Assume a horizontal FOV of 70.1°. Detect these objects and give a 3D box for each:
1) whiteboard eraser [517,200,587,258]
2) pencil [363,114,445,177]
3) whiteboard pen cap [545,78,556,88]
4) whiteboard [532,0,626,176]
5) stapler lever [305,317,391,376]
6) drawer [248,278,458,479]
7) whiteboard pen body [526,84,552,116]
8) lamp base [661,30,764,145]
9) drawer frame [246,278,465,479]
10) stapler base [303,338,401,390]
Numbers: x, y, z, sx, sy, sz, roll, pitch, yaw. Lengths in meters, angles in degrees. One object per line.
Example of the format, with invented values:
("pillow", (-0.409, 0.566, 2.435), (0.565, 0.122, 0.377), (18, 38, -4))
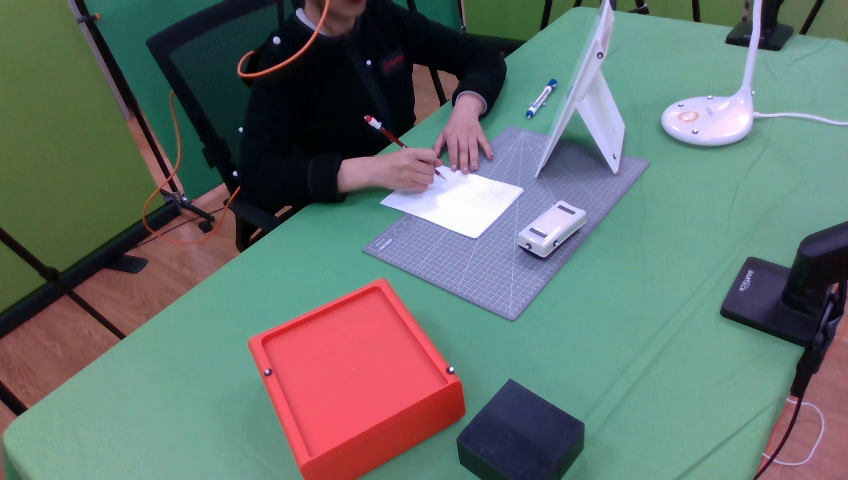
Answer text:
("whiteboard eraser", (0.200, -0.016, 0.943), (0.113, 0.042, 0.055), (-37, 46, -29))
("pencil", (-0.031, -0.163, 1.068), (0.012, 0.196, 0.012), (-35, 37, 32))
("whiteboard pen cap", (0.280, -0.344, 1.335), (0.018, 0.018, 0.033), (15, 44, 26))
("whiteboard", (0.321, -0.258, 1.050), (0.144, 0.306, 0.217), (21, 45, 5))
("stapler lever", (-0.099, 0.137, 0.789), (0.118, 0.040, 0.026), (-22, 45, -12))
("drawer", (-0.092, 0.168, 0.756), (0.195, 0.073, 0.210), (-24, 43, -18))
("whiteboard pen body", (0.251, -0.305, 1.298), (0.017, 0.017, 0.141), (15, 45, 26))
("lamp base", (0.535, -0.287, 1.096), (0.179, 0.181, 0.159), (-10, 40, -4))
("drawer frame", (-0.088, 0.168, 0.753), (0.202, 0.083, 0.211), (-24, 43, -18))
("stapler base", (-0.096, 0.159, 0.812), (0.131, 0.024, 0.041), (-17, 44, -17))
